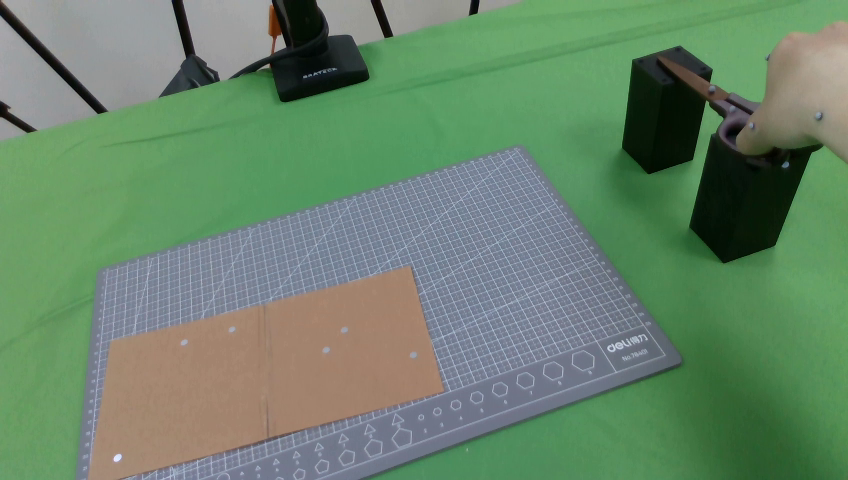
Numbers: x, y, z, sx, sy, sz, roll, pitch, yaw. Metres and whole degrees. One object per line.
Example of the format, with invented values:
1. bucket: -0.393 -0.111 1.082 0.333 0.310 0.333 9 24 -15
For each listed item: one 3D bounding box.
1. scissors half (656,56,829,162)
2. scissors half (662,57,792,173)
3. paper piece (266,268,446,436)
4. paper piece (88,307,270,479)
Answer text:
1. scissors half: 0.252 -0.115 0.496 0.040 0.013 0.173 -25 48 -17
2. scissors half: 0.233 -0.109 0.492 0.040 0.013 0.173 -8 44 -8
3. paper piece: -0.062 0.085 0.496 0.136 0.004 0.134 -13 44 -4
4. paper piece: -0.191 0.118 0.487 0.138 0.009 0.134 -14 41 -2
